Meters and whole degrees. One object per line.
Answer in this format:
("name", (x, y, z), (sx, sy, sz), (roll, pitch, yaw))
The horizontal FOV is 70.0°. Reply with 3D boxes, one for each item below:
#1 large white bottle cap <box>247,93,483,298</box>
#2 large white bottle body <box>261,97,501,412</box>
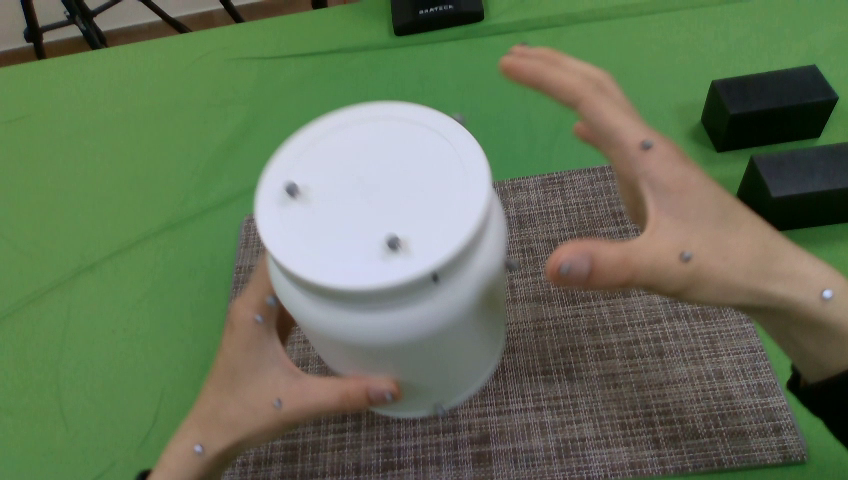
("large white bottle cap", (-0.028, -0.026, 0.296), (0.115, 0.018, 0.114), (-3, 58, 4))
("large white bottle body", (-0.019, 0.018, 0.368), (0.130, 0.186, 0.129), (-3, 59, 5))
